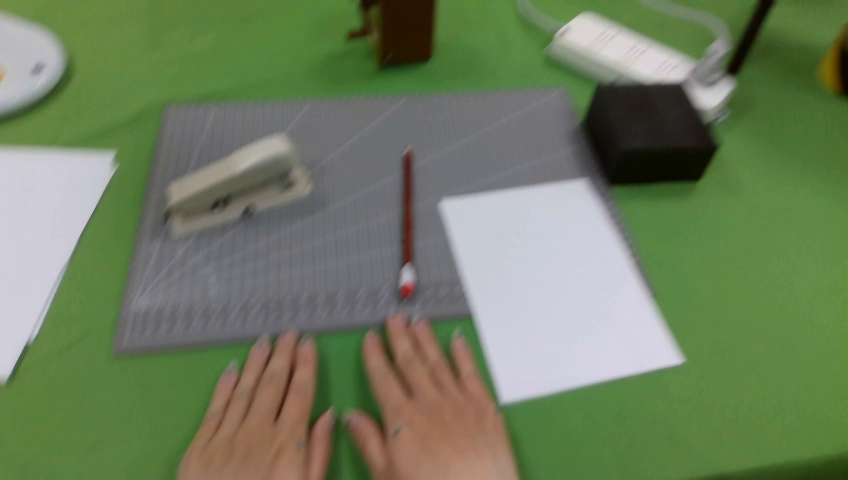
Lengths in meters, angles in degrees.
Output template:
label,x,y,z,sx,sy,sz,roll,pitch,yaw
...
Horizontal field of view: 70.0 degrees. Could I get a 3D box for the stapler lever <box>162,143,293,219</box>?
label,x,y,z,sx,sy,sz,roll,pitch,yaw
stapler lever,-0.177,-0.055,0.548,0.118,0.040,0.026,-20,53,-19

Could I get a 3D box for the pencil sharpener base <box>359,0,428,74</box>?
label,x,y,z,sx,sy,sz,roll,pitch,yaw
pencil sharpener base,-0.041,-0.257,0.708,0.077,0.108,0.060,-14,53,-14

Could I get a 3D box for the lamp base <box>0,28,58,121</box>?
label,x,y,z,sx,sy,sz,roll,pitch,yaw
lamp base,-0.492,-0.232,0.606,0.160,0.182,0.177,-32,56,-27

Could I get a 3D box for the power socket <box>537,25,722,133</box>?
label,x,y,z,sx,sy,sz,roll,pitch,yaw
power socket,0.245,-0.197,0.726,0.225,0.033,0.072,33,55,23

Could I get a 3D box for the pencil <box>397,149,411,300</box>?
label,x,y,z,sx,sy,sz,roll,pitch,yaw
pencil,-0.021,-0.023,0.573,0.012,0.012,0.192,0,49,-4

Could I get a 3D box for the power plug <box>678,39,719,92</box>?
label,x,y,z,sx,sy,sz,roll,pitch,yaw
power plug,0.322,-0.191,0.696,0.072,0.053,0.035,-33,59,-26

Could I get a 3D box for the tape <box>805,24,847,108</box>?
label,x,y,z,sx,sy,sz,roll,pitch,yaw
tape,0.542,-0.213,0.747,0.117,0.053,0.115,2,51,-2

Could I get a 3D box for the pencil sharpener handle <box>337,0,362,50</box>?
label,x,y,z,sx,sy,sz,roll,pitch,yaw
pencil sharpener handle,-0.087,-0.250,0.681,0.031,0.068,0.035,-14,30,-14

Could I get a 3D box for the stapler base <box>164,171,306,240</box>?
label,x,y,z,sx,sy,sz,roll,pitch,yaw
stapler base,-0.177,-0.041,0.568,0.131,0.024,0.041,-21,53,-18
